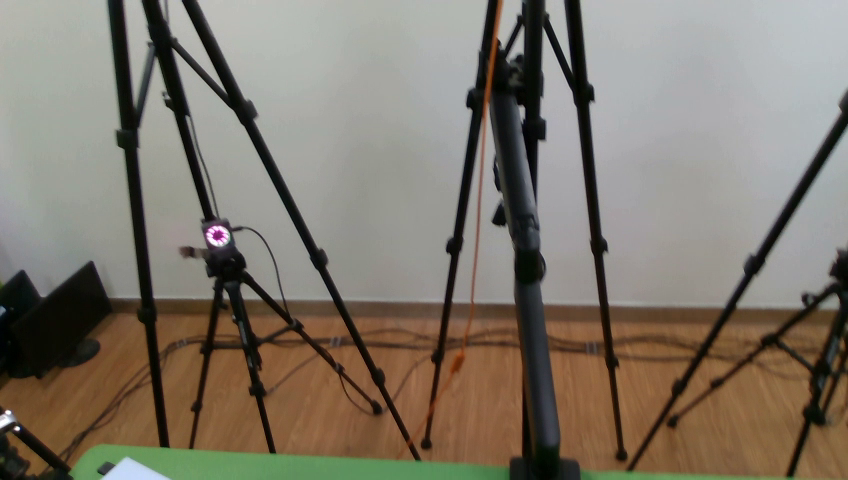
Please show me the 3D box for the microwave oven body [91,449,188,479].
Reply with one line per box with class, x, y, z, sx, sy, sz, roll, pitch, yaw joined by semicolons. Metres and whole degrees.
microwave oven body;-0.377;0.522;0.680;0.324;0.262;0.440;13;37;25
